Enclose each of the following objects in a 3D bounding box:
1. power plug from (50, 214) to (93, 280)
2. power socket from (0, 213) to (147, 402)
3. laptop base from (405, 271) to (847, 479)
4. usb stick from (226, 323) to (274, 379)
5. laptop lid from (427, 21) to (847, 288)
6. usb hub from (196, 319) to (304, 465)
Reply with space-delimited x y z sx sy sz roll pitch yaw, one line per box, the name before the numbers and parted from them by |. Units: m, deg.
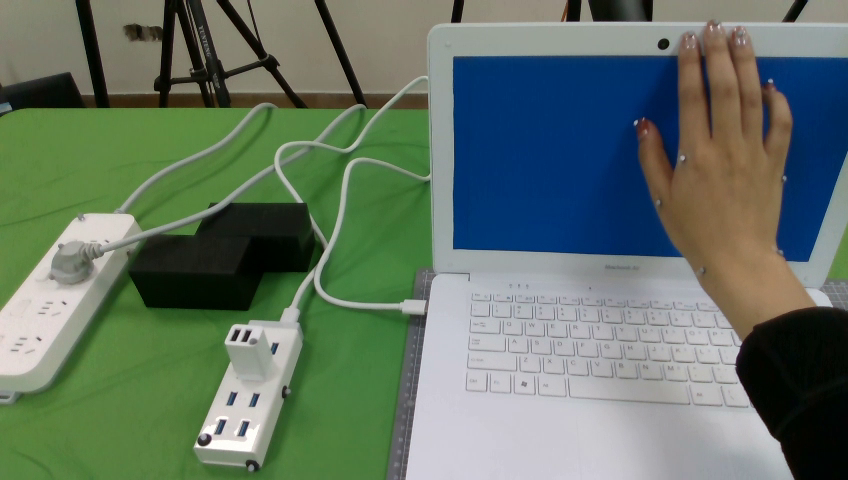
power plug | -0.338 0.013 0.589 0.035 0.053 0.072 -1 35 -12
power socket | -0.343 0.050 0.581 0.072 0.033 0.224 3 42 5
laptop base | 0.170 0.121 0.480 0.354 0.023 0.233 2 46 6
usb stick | -0.136 0.093 0.483 0.027 0.060 0.021 1 42 7
laptop lid | 0.179 -0.059 0.503 0.356 0.243 0.013 1 31 6
usb hub | -0.139 0.120 0.497 0.049 0.025 0.124 2 42 7
